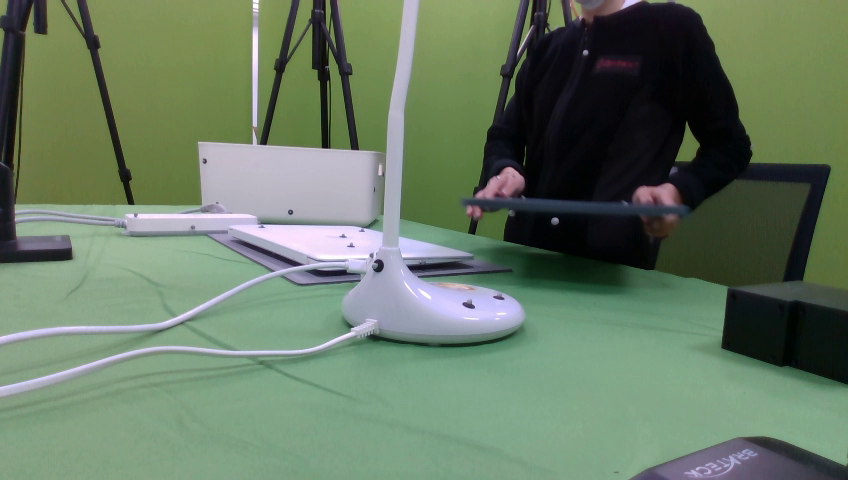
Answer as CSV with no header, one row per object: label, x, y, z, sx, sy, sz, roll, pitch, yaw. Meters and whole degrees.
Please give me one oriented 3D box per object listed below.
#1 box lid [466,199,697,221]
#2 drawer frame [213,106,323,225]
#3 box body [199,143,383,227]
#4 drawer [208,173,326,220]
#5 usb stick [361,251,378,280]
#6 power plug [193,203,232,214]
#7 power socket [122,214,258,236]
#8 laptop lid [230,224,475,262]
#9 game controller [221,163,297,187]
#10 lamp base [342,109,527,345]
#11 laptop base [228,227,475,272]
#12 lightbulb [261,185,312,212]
box lid,0.215,-0.044,0.850,0.263,0.015,0.372,3,5,14
drawer frame,-0.316,-0.142,1.308,0.082,0.213,0.202,22,-17,31
box body,-0.276,-0.124,1.334,0.364,0.160,0.254,3,7,1
drawer,-0.335,-0.102,1.326,0.212,0.073,0.194,8,8,-1
usb stick,-0.051,0.033,0.656,0.027,0.021,0.059,4,-27,-21
power plug,-0.394,-0.043,1.139,0.072,0.052,0.035,-13,2,31
power socket,-0.398,-0.028,1.049,0.228,0.032,0.072,-3,8,-34
laptop lid,-0.119,0.000,0.889,0.243,0.013,0.355,1,7,-33
game controller,-0.362,-0.141,1.315,0.156,0.051,0.096,-1,5,-23
lamp base,0.006,-0.015,0.505,0.160,0.180,0.180,6,11,29
laptop base,-0.122,0.011,0.889,0.237,0.023,0.352,2,6,-35
lightbulb,-0.294,-0.085,1.292,0.108,0.059,0.059,-13,13,-20
